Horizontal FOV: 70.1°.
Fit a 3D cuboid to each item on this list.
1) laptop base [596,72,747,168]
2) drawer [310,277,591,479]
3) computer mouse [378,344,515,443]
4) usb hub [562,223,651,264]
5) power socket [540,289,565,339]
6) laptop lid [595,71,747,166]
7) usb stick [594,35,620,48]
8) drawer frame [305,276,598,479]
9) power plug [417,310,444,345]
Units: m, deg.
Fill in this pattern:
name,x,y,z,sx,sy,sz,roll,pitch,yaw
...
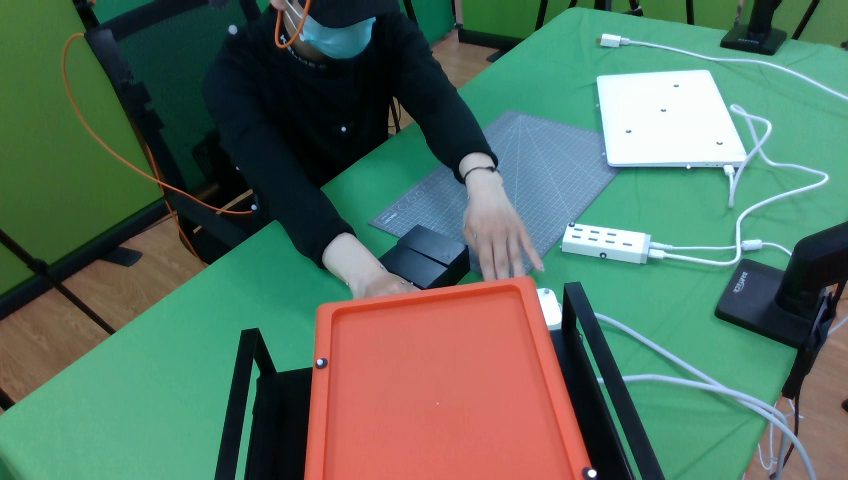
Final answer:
name,x,y,z,sx,sy,sz,roll,pitch,yaw
laptop base,0.469,-0.239,1.189,0.235,0.023,0.353,-1,40,11
drawer,0.013,0.136,0.489,0.195,0.073,0.210,-7,41,0
computer mouse,0.017,0.126,0.521,0.116,0.041,0.063,13,47,29
usb hub,0.279,0.004,0.926,0.124,0.025,0.049,10,43,19
power socket,0.081,0.111,0.823,0.227,0.033,0.072,-6,41,0
laptop lid,0.465,-0.248,1.181,0.241,0.013,0.355,1,41,12
usb stick,0.443,-0.482,1.467,0.059,0.021,0.027,9,43,10
drawer frame,0.014,0.137,0.486,0.202,0.083,0.212,-8,41,-1
power plug,0.006,0.122,0.787,0.035,0.053,0.072,0,40,7
